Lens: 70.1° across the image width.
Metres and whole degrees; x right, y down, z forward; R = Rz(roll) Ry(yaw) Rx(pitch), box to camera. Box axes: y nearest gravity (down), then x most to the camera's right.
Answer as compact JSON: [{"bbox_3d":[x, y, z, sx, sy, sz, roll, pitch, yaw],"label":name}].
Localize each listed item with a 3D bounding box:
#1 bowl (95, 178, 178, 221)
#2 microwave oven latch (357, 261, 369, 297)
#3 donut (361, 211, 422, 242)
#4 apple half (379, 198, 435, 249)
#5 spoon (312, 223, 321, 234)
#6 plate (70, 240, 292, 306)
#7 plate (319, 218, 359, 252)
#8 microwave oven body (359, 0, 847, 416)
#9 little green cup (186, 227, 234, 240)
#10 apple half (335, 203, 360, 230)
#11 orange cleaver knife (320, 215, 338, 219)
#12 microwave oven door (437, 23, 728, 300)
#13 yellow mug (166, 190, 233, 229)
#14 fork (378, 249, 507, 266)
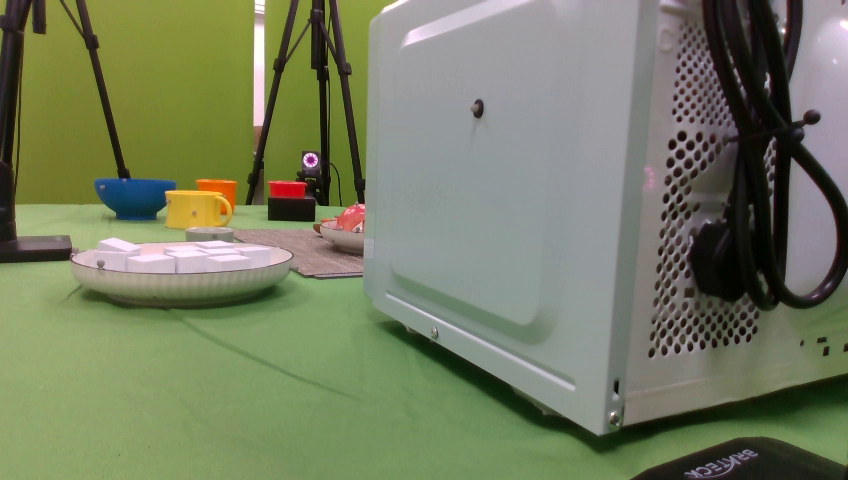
[{"bbox_3d":[-0.576,-0.081,1.217,0.151,0.077,0.151,4,8,0],"label":"bowl"},{"bbox_3d":[-0.019,0.033,0.531,0.079,0.029,0.030,-1,7,-27],"label":"microwave oven latch"},{"bbox_3d":[-0.051,-0.020,0.958,0.099,0.048,0.099,5,7,0],"label":"donut"},{"bbox_3d":[-0.020,-0.030,0.891,0.081,0.053,0.074,-2,49,-26],"label":"apple half"},{"bbox_3d":[-0.112,-0.022,1.095,0.195,0.021,0.041,-4,-13,-37],"label":"spoon"},{"bbox_3d":[-0.242,0.032,0.618,0.208,0.039,0.207,2,8,0],"label":"plate"},{"bbox_3d":[-0.059,-0.007,0.939,0.209,0.038,0.209,3,8,0],"label":"plate"},{"bbox_3d":[0.211,-0.047,0.474,0.444,0.260,0.324,-1,7,-28],"label":"microwave oven body"},{"bbox_3d":[-0.285,0.005,0.805,0.061,0.038,0.061,2,8,0],"label":"little green cup"},{"bbox_3d":[-0.116,-0.038,0.960,0.081,0.033,0.081,-38,8,7],"label":"apple half"},{"bbox_3d":[-0.142,-0.057,1.394,0.077,0.012,0.212,2,7,44],"label":"orange cleaver knife"},{"bbox_3d":[0.181,-0.072,0.621,0.358,0.243,0.039,-2,9,-29],"label":"microwave oven door"},{"bbox_3d":[-0.415,-0.057,1.132,0.130,0.064,0.100,6,8,16],"label":"yellow mug"},{"bbox_3d":[0.031,0.022,0.819,0.208,0.018,0.028,-5,5,-33],"label":"fork"}]
